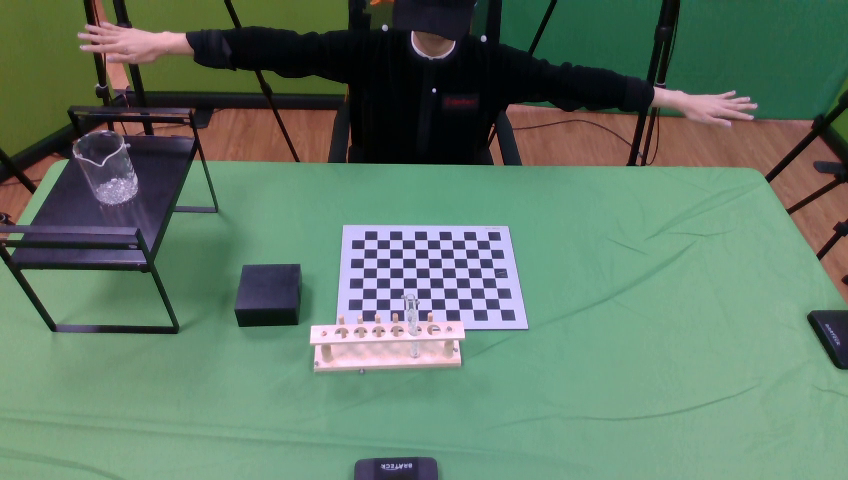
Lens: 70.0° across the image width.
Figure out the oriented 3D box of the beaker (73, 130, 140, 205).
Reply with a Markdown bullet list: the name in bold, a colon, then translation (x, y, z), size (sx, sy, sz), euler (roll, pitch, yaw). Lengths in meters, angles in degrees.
- **beaker**: translation (-0.500, -0.110, 0.963), size (0.074, 0.101, 0.083), euler (-14, 49, -16)

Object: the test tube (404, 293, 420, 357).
- **test tube**: translation (-0.018, 0.136, 0.947), size (0.017, 0.151, 0.017), euler (-2, 45, 2)

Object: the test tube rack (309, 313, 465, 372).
- **test tube rack**: translation (-0.059, 0.161, 0.990), size (0.242, 0.085, 0.066), euler (-1, 46, -5)
